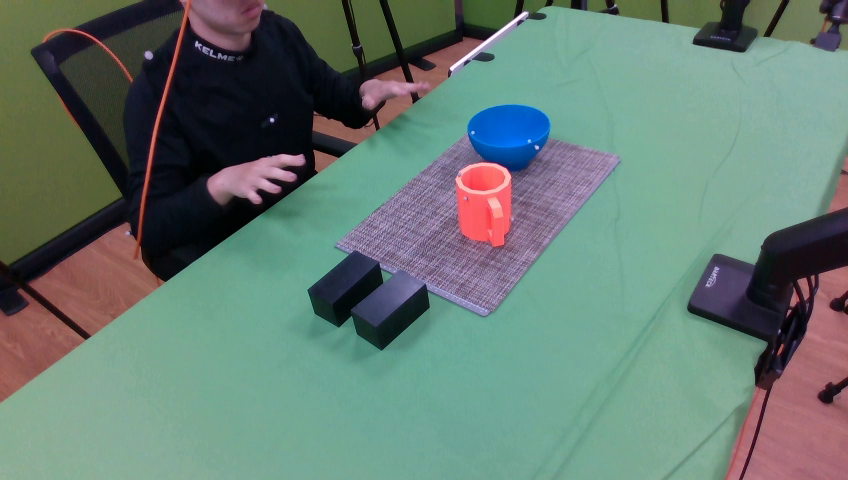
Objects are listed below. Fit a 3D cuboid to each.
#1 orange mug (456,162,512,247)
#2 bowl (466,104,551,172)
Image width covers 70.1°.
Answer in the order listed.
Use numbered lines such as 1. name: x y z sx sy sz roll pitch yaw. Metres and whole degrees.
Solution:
1. orange mug: 0.100 -0.050 0.949 0.083 0.101 0.125 -12 37 -6
2. bowl: 0.155 -0.177 1.105 0.151 0.077 0.150 -4 40 4
